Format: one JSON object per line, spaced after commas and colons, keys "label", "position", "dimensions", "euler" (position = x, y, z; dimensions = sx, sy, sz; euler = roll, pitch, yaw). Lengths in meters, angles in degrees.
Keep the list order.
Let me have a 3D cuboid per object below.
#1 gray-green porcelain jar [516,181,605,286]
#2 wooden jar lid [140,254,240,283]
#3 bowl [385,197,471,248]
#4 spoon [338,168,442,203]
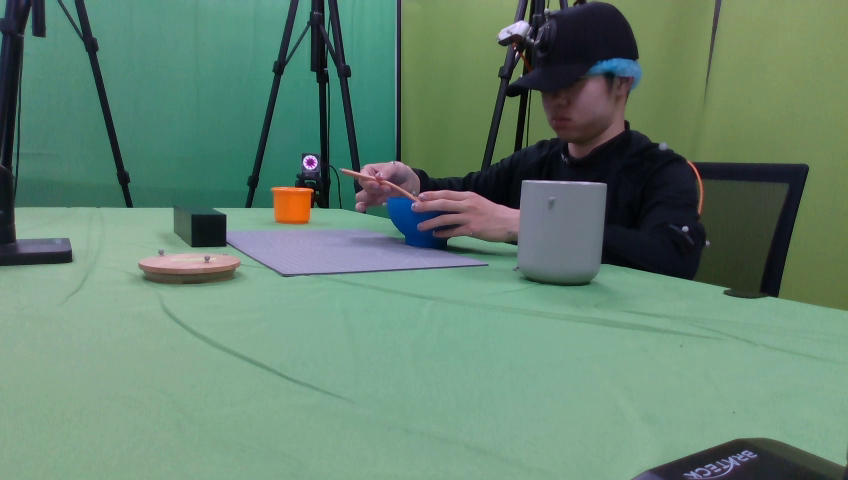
{"label": "gray-green porcelain jar", "position": [0.172, -0.010, 0.768], "dimensions": [0.106, 0.126, 0.106], "euler": [2, 7, 0]}
{"label": "wooden jar lid", "position": [-0.269, 0.032, 0.698], "dimensions": [0.108, 0.020, 0.108], "euler": [2, 5, 0]}
{"label": "bowl", "position": [0.004, -0.030, 1.045], "dimensions": [0.151, 0.077, 0.151], "euler": [5, 6, 0]}
{"label": "spoon", "position": [-0.059, -0.092, 1.052], "dimensions": [0.193, 0.021, 0.042], "euler": [23, 14, 7]}
